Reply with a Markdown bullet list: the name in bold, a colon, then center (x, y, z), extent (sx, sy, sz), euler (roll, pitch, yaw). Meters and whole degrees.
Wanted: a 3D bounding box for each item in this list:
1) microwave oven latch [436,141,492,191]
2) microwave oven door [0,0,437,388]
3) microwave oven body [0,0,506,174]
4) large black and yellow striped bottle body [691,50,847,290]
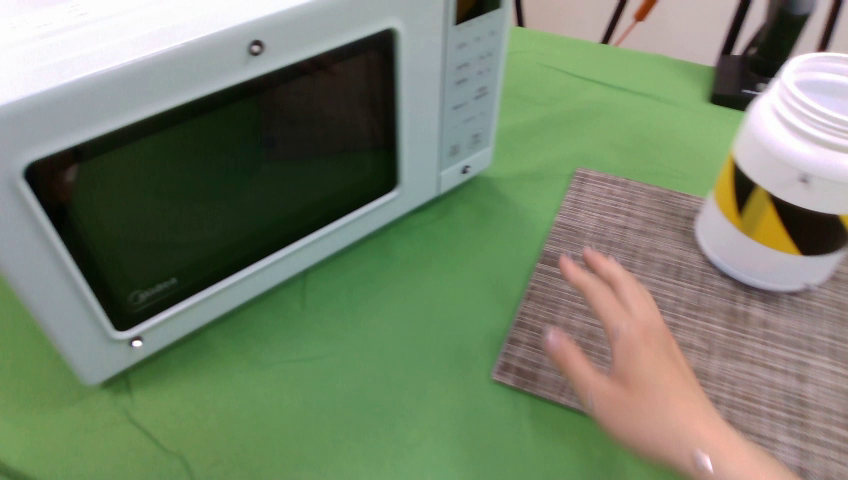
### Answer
- **microwave oven latch**: center (0.036, -0.083, 0.642), extent (0.079, 0.030, 0.030), euler (-30, 54, -25)
- **microwave oven door**: center (-0.133, -0.054, 0.470), extent (0.356, 0.246, 0.039), euler (-31, 53, -27)
- **microwave oven body**: center (-0.195, -0.150, 0.568), extent (0.442, 0.262, 0.323), euler (-32, 55, -26)
- **large black and yellow striped bottle body**: center (0.332, -0.058, 0.539), extent (0.131, 0.185, 0.129), euler (1, 46, 0)
